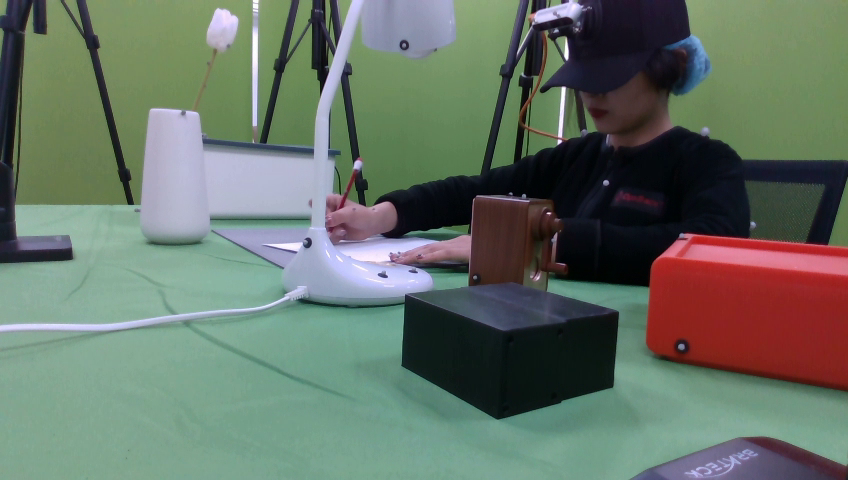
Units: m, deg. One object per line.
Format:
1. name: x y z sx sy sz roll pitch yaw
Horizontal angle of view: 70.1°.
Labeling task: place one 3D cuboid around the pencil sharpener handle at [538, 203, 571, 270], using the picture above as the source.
1. pencil sharpener handle: 0.137 -0.003 0.619 0.030 0.067 0.036 8 7 38

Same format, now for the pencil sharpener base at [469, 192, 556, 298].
1. pencil sharpener base: 0.097 0.003 0.652 0.076 0.107 0.061 8 9 38

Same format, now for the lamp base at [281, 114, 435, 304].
1. lamp base: -0.071 -0.034 0.614 0.160 0.180 0.180 6 10 27

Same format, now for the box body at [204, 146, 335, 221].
1. box body: -0.411 -0.135 1.386 0.366 0.160 0.253 -2 9 -29

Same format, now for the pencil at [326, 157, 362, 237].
1. pencil: -0.129 -0.068 0.961 0.012 0.012 0.194 4 48 13

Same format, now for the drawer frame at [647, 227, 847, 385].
1. drawer frame: 0.303 0.043 0.495 0.201 0.082 0.214 6 9 26

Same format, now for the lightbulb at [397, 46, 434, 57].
1. lightbulb: -0.017 -0.264 0.692 0.059 0.108 0.059 -9 28 5

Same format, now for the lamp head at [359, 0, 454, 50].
1. lamp head: -0.024 -0.282 0.674 0.112 0.123 0.112 -3 38 3

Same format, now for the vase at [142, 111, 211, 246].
1. vase: -0.378 -0.093 0.920 0.098 0.200 0.098 2 9 0

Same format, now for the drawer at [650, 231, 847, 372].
1. drawer: 0.303 0.044 0.499 0.194 0.073 0.212 7 9 27

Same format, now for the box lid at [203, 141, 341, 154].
1. box lid: -0.396 -0.212 1.373 0.373 0.015 0.262 -1 9 -29

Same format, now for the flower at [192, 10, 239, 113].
1. flower: -0.354 -0.174 0.915 0.038 0.361 0.044 18 -4 12
